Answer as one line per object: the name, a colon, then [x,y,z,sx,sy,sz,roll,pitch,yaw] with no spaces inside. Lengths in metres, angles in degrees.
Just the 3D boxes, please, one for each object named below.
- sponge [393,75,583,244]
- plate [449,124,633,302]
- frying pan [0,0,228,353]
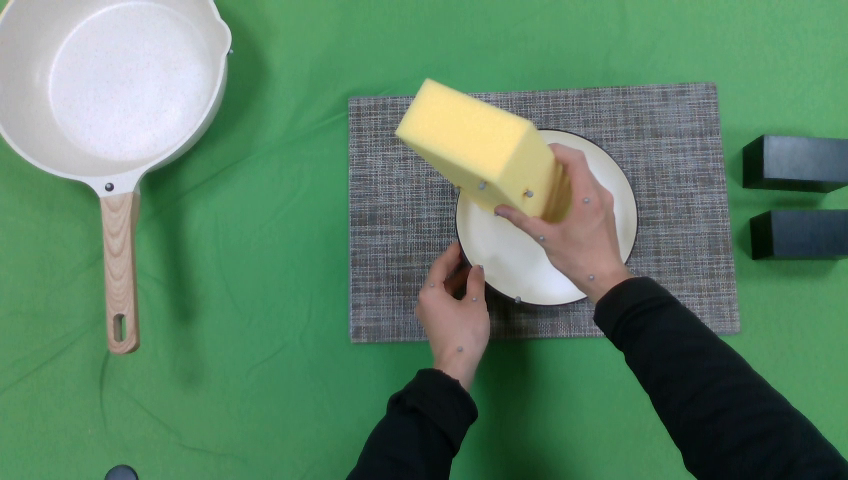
sponge: [0.074,-0.073,0.608,0.117,0.209,0.061,30,89,31]
plate: [0.133,-0.029,0.705,0.207,0.039,0.207,0,83,2]
frying pan: [-0.361,-0.110,0.708,0.307,0.103,0.484,-10,74,2]
